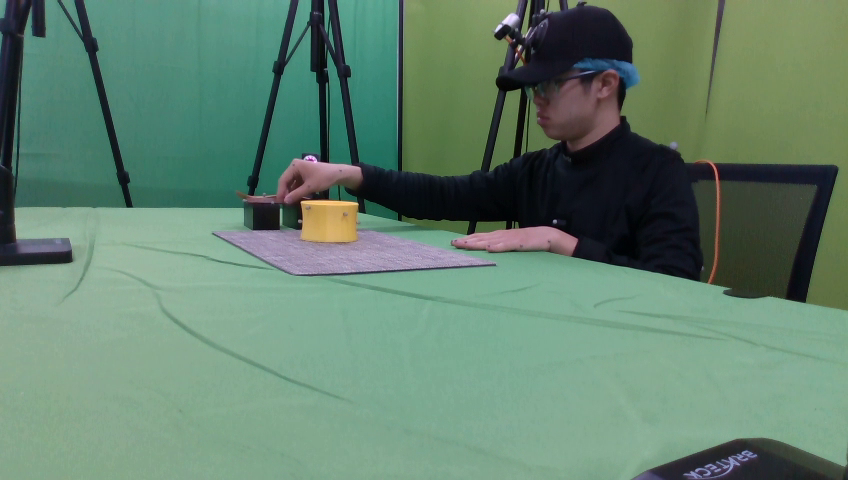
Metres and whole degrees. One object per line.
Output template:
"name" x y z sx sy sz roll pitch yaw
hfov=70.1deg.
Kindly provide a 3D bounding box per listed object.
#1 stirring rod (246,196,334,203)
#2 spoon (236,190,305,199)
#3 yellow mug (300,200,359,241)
"stirring rod" -0.263 -0.080 1.199 0.177 0.006 0.014 -3 49 -29
"spoon" -0.290 -0.088 1.248 0.195 0.021 0.041 0 7 -32
"yellow mug" -0.156 -0.036 1.060 0.099 0.064 0.131 6 7 27
